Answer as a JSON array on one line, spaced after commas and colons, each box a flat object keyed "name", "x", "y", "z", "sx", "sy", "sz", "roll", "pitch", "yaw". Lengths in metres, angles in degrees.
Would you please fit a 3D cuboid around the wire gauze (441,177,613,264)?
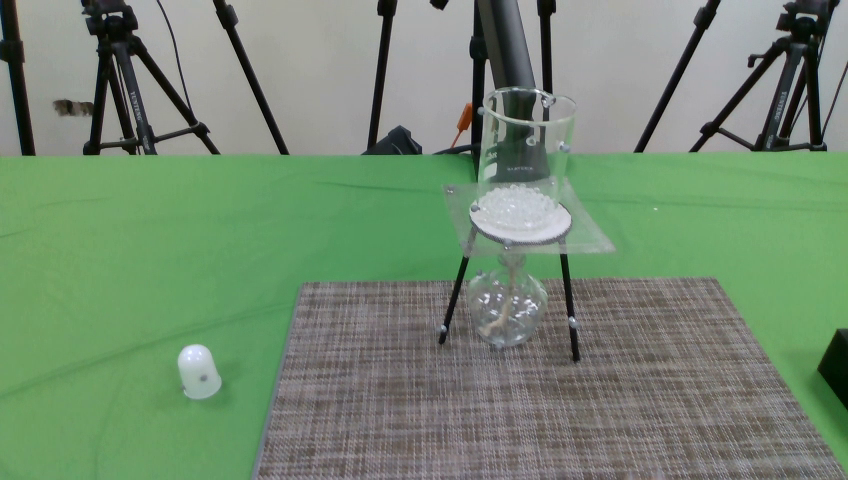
[{"name": "wire gauze", "x": 0.083, "y": -0.020, "z": 0.518, "sx": 0.125, "sy": 0.011, "sz": 0.120, "roll": 0, "pitch": 36, "yaw": -8}]

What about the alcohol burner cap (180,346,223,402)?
[{"name": "alcohol burner cap", "x": -0.195, "y": 0.114, "z": 0.526, "sx": 0.034, "sy": 0.048, "sz": 0.033, "roll": 1, "pitch": 34, "yaw": 0}]

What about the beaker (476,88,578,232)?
[{"name": "beaker", "x": 0.082, "y": -0.065, "z": 0.498, "sx": 0.073, "sy": 0.101, "sz": 0.084, "roll": 21, "pitch": 39, "yaw": 25}]

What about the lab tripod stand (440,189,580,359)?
[{"name": "lab tripod stand", "x": 0.087, "y": 0.032, "z": 0.559, "sx": 0.148, "sy": 0.132, "sz": 0.147, "roll": 2, "pitch": 34, "yaw": -1}]

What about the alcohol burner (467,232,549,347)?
[{"name": "alcohol burner", "x": 0.079, "y": 0.041, "z": 0.562, "sx": 0.078, "sy": 0.120, "sz": 0.077, "roll": 1, "pitch": 36, "yaw": -1}]
